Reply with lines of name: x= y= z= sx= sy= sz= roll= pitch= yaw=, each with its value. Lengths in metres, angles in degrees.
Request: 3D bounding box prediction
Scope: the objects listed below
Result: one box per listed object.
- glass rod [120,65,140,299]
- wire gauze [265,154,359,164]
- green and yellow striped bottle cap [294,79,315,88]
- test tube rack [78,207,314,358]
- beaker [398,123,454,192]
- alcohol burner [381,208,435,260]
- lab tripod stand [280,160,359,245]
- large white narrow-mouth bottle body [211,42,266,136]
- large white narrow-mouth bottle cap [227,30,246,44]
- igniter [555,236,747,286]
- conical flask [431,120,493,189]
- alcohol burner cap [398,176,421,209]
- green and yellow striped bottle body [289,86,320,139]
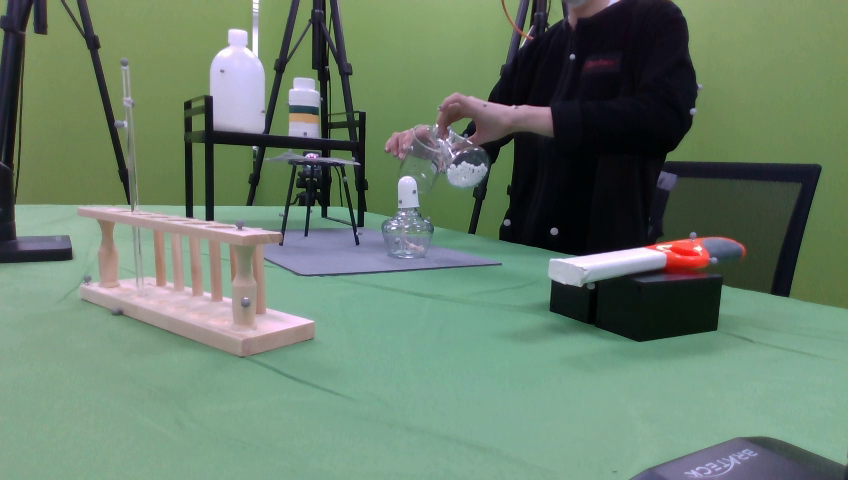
glass rod: x=-0.249 y=-0.047 z=0.513 sx=0.008 sy=0.199 sz=0.008 roll=-1 pitch=4 yaw=0
wire gauze: x=-0.181 y=-0.129 z=0.969 sx=0.126 sy=0.011 sz=0.121 roll=-1 pitch=7 yaw=-27
green and yellow striped bottle cap: x=-0.248 y=-0.323 z=1.256 sx=0.045 sy=0.020 sz=0.045 roll=3 pitch=9 yaw=0
test tube rack: x=-0.196 y=0.023 z=0.500 sx=0.241 sy=0.085 sz=0.067 roll=8 pitch=8 yaw=37
beaker: x=0.002 y=-0.137 z=1.041 sx=0.083 sy=0.100 sz=0.074 roll=44 pitch=43 yaw=20
alcohol burner: x=-0.023 y=-0.032 z=0.871 sx=0.078 sy=0.119 sz=0.078 roll=0 pitch=6 yaw=0
lab tripod stand: x=-0.176 y=-0.062 z=0.973 sx=0.148 sy=0.131 sz=0.148 roll=1 pitch=7 yaw=0
large white narrow-mouth bottle body: x=-0.361 y=-0.302 z=1.176 sx=0.102 sy=0.194 sz=0.102 roll=1 pitch=7 yaw=0
large white narrow-mouth bottle cap: x=-0.361 y=-0.389 z=1.165 sx=0.038 sy=0.024 sz=0.037 roll=1 pitch=7 yaw=0
igniter: x=0.221 y=0.017 z=0.558 sx=0.278 sy=0.025 sz=0.057 roll=-5 pitch=15 yaw=-39
conical flask: x=0.050 y=-0.141 z=0.943 sx=0.076 sy=0.075 sz=0.121 roll=-2 pitch=40 yaw=-28
alcohol burner cap: x=-0.023 y=-0.068 z=0.866 sx=0.034 sy=0.048 sz=0.034 roll=-5 pitch=8 yaw=1
green and yellow striped bottle body: x=-0.250 y=-0.272 z=1.261 sx=0.063 sy=0.119 sz=0.063 roll=3 pitch=7 yaw=0
